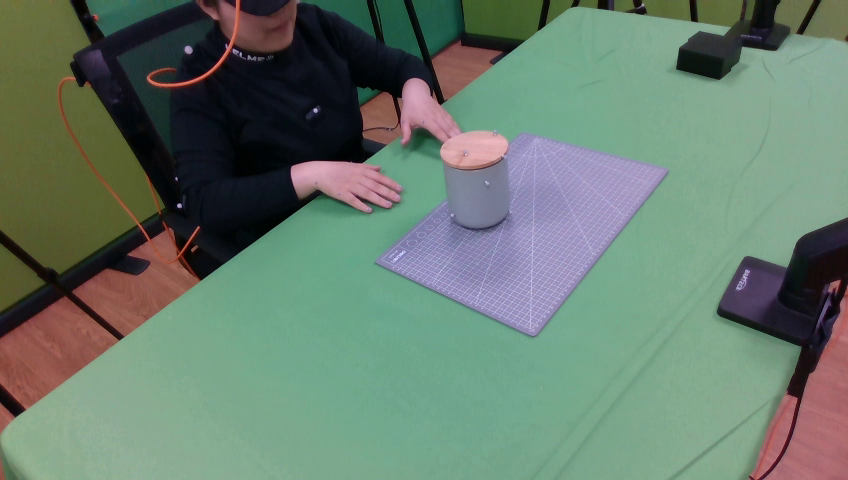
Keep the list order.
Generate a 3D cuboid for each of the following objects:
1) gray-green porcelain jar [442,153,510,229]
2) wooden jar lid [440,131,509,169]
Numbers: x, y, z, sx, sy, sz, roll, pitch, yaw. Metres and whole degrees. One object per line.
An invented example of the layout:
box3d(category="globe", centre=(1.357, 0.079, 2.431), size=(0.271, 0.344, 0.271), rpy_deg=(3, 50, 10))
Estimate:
box3d(category="gray-green porcelain jar", centre=(0.088, -0.091, 0.988), size=(0.106, 0.127, 0.105), rpy_deg=(-5, 40, 5))
box3d(category="wooden jar lid", centre=(0.079, -0.137, 0.948), size=(0.108, 0.021, 0.108), rpy_deg=(-5, 38, 5))
